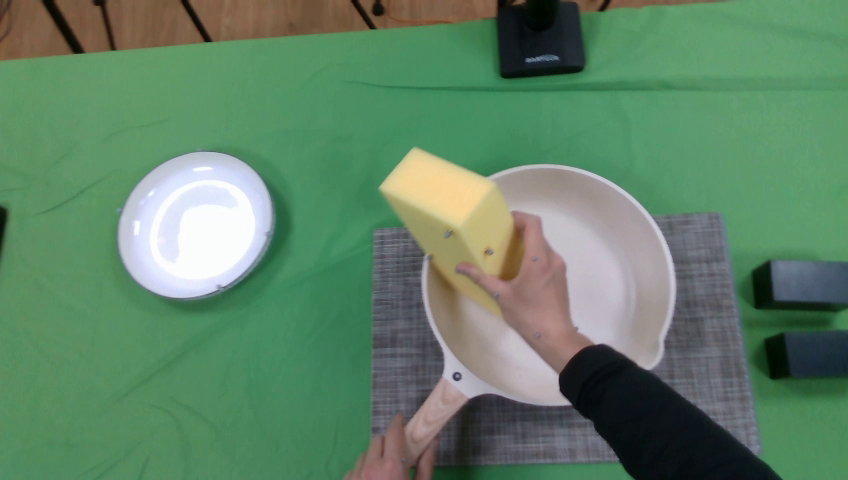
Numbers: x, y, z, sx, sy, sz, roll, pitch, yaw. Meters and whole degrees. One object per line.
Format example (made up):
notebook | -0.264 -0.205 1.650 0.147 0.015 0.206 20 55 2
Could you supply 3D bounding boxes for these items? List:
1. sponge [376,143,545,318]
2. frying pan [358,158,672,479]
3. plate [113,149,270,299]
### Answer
sponge | 0.048 -0.005 0.674 0.117 0.209 0.061 28 74 39
frying pan | 0.074 0.117 0.703 0.305 0.103 0.487 39 71 15
plate | -0.306 -0.020 0.812 0.207 0.039 0.206 -1 73 4
